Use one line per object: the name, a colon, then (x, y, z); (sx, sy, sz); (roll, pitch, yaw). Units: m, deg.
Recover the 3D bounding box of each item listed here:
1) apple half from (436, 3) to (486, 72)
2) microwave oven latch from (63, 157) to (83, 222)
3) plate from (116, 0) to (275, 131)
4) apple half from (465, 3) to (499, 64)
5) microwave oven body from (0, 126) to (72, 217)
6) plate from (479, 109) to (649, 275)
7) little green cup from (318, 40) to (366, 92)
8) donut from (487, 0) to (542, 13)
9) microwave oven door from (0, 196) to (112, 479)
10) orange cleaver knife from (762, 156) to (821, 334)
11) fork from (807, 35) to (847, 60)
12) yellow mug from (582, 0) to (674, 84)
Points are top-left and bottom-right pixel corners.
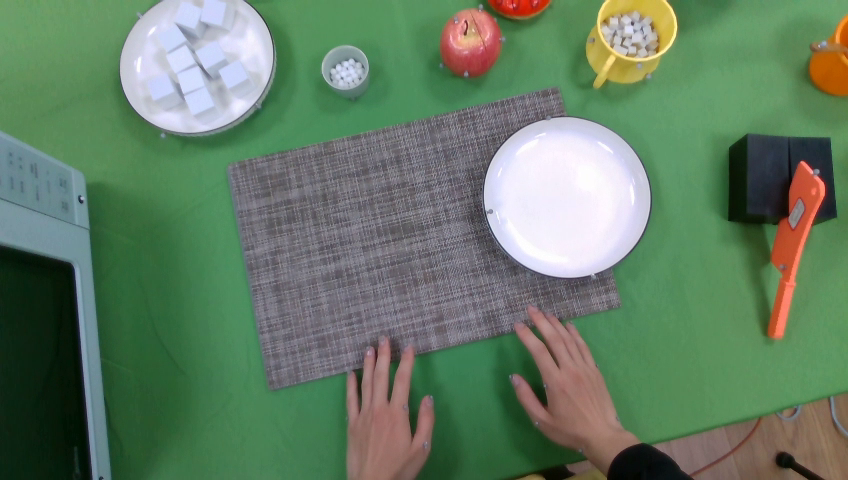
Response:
apple half: (0.043, -0.254, 0.782); (0.053, 0.075, 0.080); (-22, 84, 3)
microwave oven latch: (-0.452, -0.062, 0.764); (0.030, 0.029, 0.079); (-8, 81, 0)
plate: (-0.299, -0.241, 0.808); (0.207, 0.039, 0.207); (0, 81, 2)
apple half: (0.079, -0.270, 0.782); (0.033, 0.081, 0.081); (-23, 80, 3)
microwave oven body: (-0.570, 0.119, 0.641); (0.326, 0.261, 0.440); (-11, 81, 0)
plate: (0.172, -0.059, 0.759); (0.209, 0.038, 0.208); (0, 81, 2)
little green cup: (-0.105, -0.227, 0.799); (0.061, 0.039, 0.061); (0, 80, 2)
donut: (0.122, -0.352, 0.810); (0.099, 0.048, 0.099); (0, 83, 3)
microwave oven door: (-0.419, 0.133, 0.628); (0.039, 0.244, 0.354); (-11, 80, 0)
orange cleaver knife: (0.429, 0.008, 0.721); (0.012, 0.077, 0.212); (6, 111, 6)
fork: (0.494, -0.232, 0.724); (0.208, 0.018, 0.028); (-10, 77, -44)
yellow mug: (0.251, -0.256, 0.778); (0.099, 0.064, 0.130); (34, 84, 7)
